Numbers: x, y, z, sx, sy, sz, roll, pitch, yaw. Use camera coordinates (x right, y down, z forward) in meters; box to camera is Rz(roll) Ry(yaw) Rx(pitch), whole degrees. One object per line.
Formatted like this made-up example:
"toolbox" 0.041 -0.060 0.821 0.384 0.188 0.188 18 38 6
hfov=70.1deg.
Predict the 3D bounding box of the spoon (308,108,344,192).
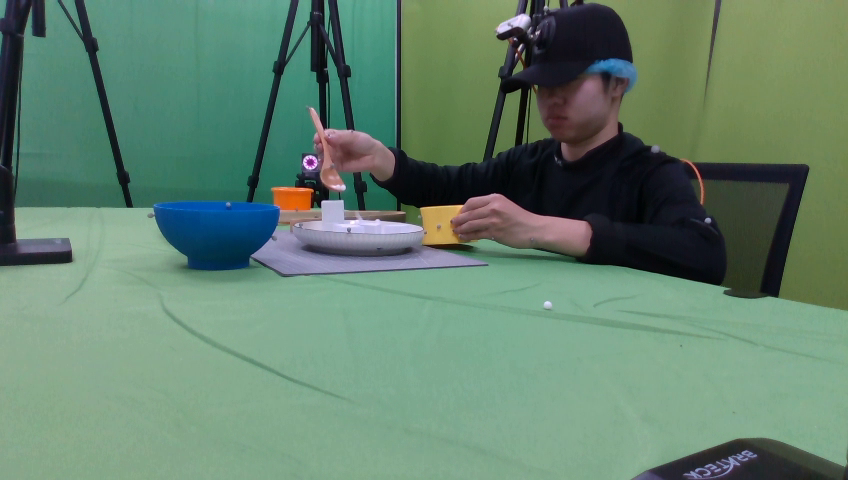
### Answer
"spoon" -0.169 -0.154 1.014 0.042 0.193 0.021 8 -38 -38

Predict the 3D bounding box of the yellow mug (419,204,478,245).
"yellow mug" 0.050 -0.027 1.041 0.100 0.064 0.130 -5 3 -30

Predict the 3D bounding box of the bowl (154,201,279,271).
"bowl" -0.263 -0.005 0.773 0.151 0.077 0.151 3 8 0

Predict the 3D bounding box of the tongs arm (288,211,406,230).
"tongs arm" -0.145 -0.043 1.279 0.028 0.028 0.389 1 4 33

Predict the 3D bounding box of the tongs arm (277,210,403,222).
"tongs arm" -0.206 -0.052 1.332 0.387 0.026 0.050 -2 7 -44

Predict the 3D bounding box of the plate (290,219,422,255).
"plate" -0.108 -0.005 0.963 0.208 0.039 0.207 3 7 0
